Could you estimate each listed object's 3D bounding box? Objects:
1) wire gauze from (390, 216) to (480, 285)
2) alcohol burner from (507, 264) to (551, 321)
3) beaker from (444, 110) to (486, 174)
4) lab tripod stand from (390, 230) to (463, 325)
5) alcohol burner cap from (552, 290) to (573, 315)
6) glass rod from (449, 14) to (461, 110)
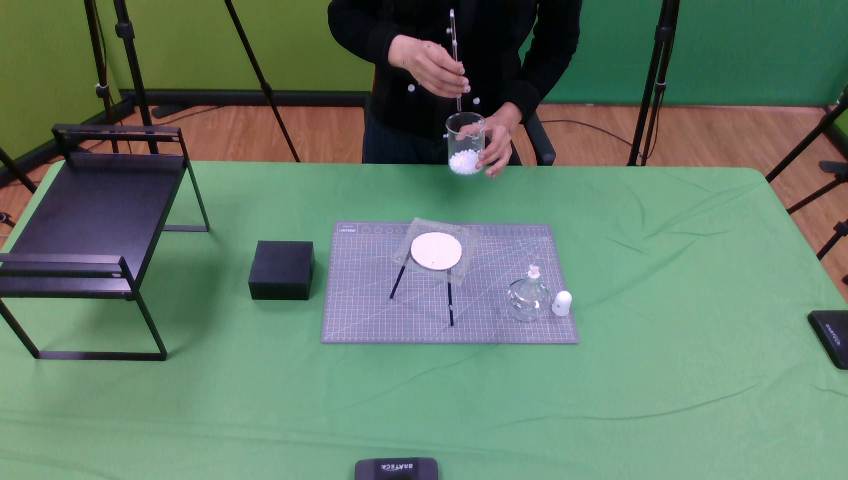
[{"bbox_3d":[0.020,0.012,1.009,0.125,0.011,0.121,16,47,12],"label":"wire gauze"},{"bbox_3d":[0.185,0.086,1.056,0.078,0.120,0.077,1,47,-1],"label":"alcohol burner"},{"bbox_3d":[0.080,-0.178,1.130,0.074,0.101,0.083,-21,47,-15],"label":"beaker"},{"bbox_3d":[0.014,0.060,1.056,0.148,0.132,0.147,1,48,-1],"label":"lab tripod stand"},{"bbox_3d":[0.251,0.109,1.088,0.034,0.048,0.033,3,47,-2],"label":"alcohol burner cap"},{"bbox_3d":[0.052,-0.290,1.009,0.008,0.201,0.008,-4,56,6],"label":"glass rod"}]
